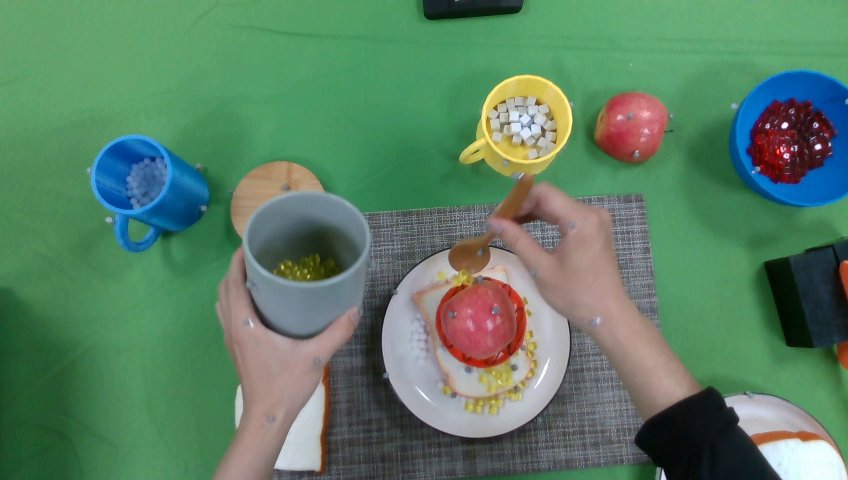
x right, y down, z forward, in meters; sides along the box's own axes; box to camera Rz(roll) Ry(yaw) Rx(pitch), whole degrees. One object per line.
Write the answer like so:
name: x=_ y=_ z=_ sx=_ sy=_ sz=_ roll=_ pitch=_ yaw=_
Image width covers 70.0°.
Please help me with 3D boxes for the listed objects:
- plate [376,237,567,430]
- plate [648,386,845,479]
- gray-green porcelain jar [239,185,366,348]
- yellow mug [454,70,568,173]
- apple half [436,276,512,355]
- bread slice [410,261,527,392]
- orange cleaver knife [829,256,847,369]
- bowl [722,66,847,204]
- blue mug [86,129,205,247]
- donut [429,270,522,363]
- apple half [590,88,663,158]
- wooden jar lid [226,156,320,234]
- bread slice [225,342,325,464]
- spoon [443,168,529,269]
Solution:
plate: x=0.051 y=0.101 z=0.668 sx=0.208 sy=0.039 sz=0.207 roll=0 pitch=84 yaw=-1
plate: x=0.344 y=0.262 z=0.657 sx=0.209 sy=0.038 sz=0.208 roll=0 pitch=83 yaw=0
gray-green porcelain jar: x=-0.110 y=0.030 z=0.553 sx=0.106 sy=0.127 sz=0.105 roll=6 pitch=52 yaw=-7
yellow mug: x=0.093 y=-0.125 z=0.685 sx=0.131 sy=0.064 sz=0.099 roll=-28 pitch=84 yaw=-3
apple half: x=0.052 y=0.076 z=0.607 sx=0.081 sy=0.033 sz=0.081 roll=-1 pitch=81 yaw=6
bread slice: x=0.057 y=0.099 z=0.672 sx=0.107 sy=0.018 sz=0.134 roll=-20 pitch=82 yaw=-3
orange cleaver knife: x=0.470 y=0.121 z=0.653 sx=0.012 sy=0.076 sz=0.212 roll=-16 pitch=105 yaw=-9
bowl: x=0.399 y=-0.108 z=0.681 sx=0.151 sy=0.077 sz=0.151 roll=0 pitch=84 yaw=0
blue mug: x=-0.300 y=-0.049 z=0.650 sx=0.082 sy=0.106 sz=0.116 roll=17 pitch=83 yaw=2
donut: x=0.055 y=0.081 z=0.643 sx=0.099 sy=0.048 sz=0.099 roll=0 pitch=83 yaw=-1
apple half: x=0.235 y=-0.139 z=0.695 sx=0.074 sy=0.053 sz=0.080 roll=18 pitch=84 yaw=4
wooden jar lid: x=-0.169 y=-0.042 z=0.692 sx=0.108 sy=0.021 sz=0.108 roll=0 pitch=80 yaw=0
bread slice: x=-0.162 y=0.178 z=0.667 sx=0.105 sy=0.019 sz=0.131 roll=4 pitch=84 yaw=-1
spoon: x=0.055 y=-0.012 z=0.526 sx=0.042 sy=0.194 sz=0.021 roll=18 pitch=68 yaw=-6
